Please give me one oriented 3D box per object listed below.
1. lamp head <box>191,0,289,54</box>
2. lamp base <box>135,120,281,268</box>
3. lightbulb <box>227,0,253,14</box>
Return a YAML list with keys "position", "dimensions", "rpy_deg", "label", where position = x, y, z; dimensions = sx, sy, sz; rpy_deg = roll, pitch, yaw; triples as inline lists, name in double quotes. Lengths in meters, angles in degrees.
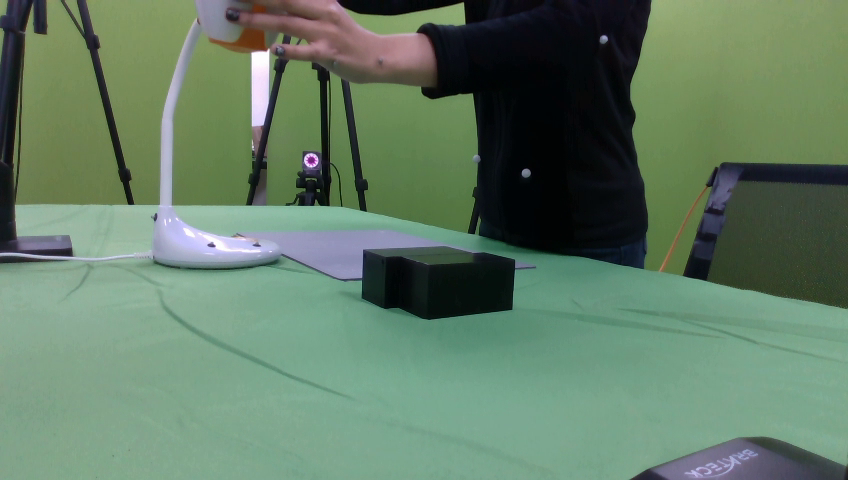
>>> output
- position: [-0.188, -0.252, 0.607]
  dimensions: [0.112, 0.123, 0.112]
  rpy_deg: [10, 20, -4]
  label: "lamp head"
- position: [-0.276, -0.061, 0.773]
  dimensions: [0.180, 0.180, 0.160]
  rpy_deg: [-9, 13, -44]
  label: "lamp base"
- position: [-0.175, -0.280, 0.597]
  dimensions: [0.059, 0.107, 0.059]
  rpy_deg: [13, 15, -3]
  label: "lightbulb"
